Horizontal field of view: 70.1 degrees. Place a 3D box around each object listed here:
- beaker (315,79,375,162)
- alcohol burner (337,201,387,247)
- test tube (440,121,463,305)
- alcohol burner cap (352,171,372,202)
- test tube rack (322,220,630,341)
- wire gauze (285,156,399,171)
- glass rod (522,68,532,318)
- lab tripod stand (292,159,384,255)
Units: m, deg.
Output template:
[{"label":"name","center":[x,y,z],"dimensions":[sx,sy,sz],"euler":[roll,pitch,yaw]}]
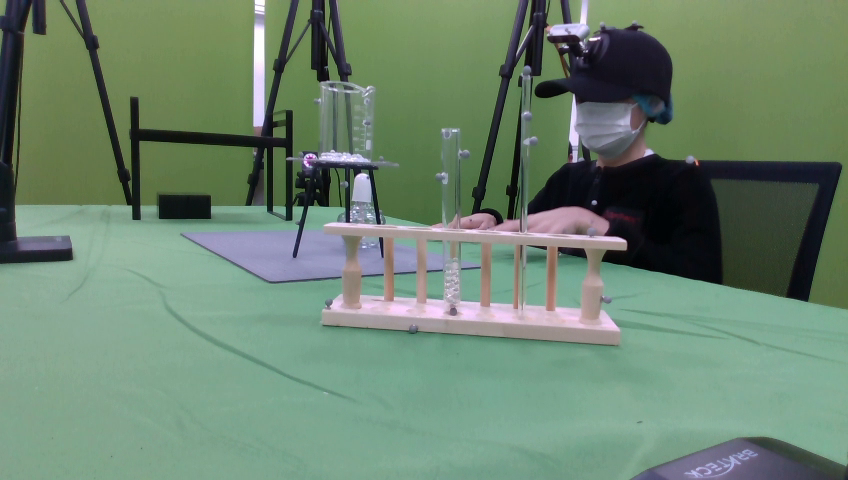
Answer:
[{"label":"beaker","center":[-0.100,-0.151,0.778],"dimensions":[0.074,0.100,0.083],"euler":[-3,8,-38]},{"label":"alcohol burner","center":[-0.098,-0.049,0.954],"dimensions":[0.078,0.119,0.078],"euler":[0,6,0]},{"label":"test tube","center":[0.023,-0.019,0.487],"dimensions":[0.017,0.150,0.017],"euler":[-2,14,1]},{"label":"alcohol burner cap","center":[-0.096,-0.084,0.951],"dimensions":[0.034,0.048,0.034],"euler":[6,5,0]},{"label":"test tube rack","center":[0.041,0.029,0.512],"dimensions":[0.242,0.085,0.067],"euler":[3,7,5]},{"label":"wire gauze","center":[-0.102,-0.103,0.787],"dimensions":[0.121,0.011,0.125],"euler":[5,4,6]},{"label":"glass rod","center":[0.081,-0.031,0.472],"dimensions":[0.008,0.199,0.008],"euler":[-2,14,1]},{"label":"lab tripod stand","center":[-0.105,-0.039,0.797],"dimensions":[0.148,0.131,0.148],"euler":[2,5,0]}]
